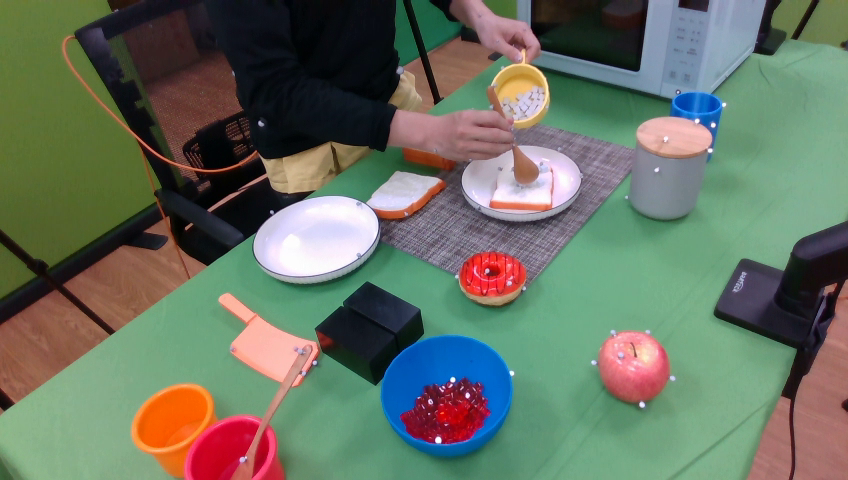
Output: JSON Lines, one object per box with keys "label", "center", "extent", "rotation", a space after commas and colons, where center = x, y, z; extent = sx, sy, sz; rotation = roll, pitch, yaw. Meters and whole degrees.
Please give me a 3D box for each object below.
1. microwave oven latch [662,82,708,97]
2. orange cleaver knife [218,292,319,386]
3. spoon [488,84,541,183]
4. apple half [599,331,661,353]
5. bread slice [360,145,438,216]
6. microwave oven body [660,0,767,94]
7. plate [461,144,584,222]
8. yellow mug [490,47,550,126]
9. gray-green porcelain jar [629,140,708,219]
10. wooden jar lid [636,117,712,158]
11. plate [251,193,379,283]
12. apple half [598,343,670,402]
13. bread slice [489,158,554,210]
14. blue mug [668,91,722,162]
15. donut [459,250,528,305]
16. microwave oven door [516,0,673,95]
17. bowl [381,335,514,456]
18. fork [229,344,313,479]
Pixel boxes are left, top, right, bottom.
{"label": "microwave oven latch", "center": [0.518, -0.298, 1.203], "extent": [0.078, 0.029, 0.030], "rotation": [28, 53, 35]}
{"label": "orange cleaver knife", "center": [-0.235, 0.136, 0.850], "extent": [0.209, 0.012, 0.077], "rotation": [25, 57, 30]}
{"label": "spoon", "center": [0.134, -0.157, 0.922], "extent": [0.041, 0.195, 0.021], "rotation": [-25, 36, 12]}
{"label": "apple half", "center": [0.249, 0.134, 0.738], "extent": [0.081, 0.081, 0.032], "rotation": [-1, 46, 7]}
{"label": "bread slice", "center": [-0.053, -0.103, 1.046], "extent": [0.106, 0.018, 0.134], "rotation": [19, 67, 23]}
{"label": "microwave oven body", "center": [0.473, -0.516, 1.313], "extent": [0.438, 0.261, 0.327], "rotation": [26, 51, 34]}
{"label": "plate", "center": [0.168, -0.095, 1.040], "extent": [0.207, 0.039, 0.206], "rotation": [-4, 41, 4]}
{"label": "yellow mug", "center": [0.169, -0.268, 1.051], "extent": [0.099, 0.130, 0.064], "rotation": [5, 3, 13]}
{"label": "gray-green porcelain jar", "center": [0.383, -0.104, 0.958], "extent": [0.106, 0.127, 0.105], "rotation": [-4, 41, 4]}
{"label": "wooden jar lid", "center": [0.377, -0.151, 0.917], "extent": [0.108, 0.021, 0.108], "rotation": [-2, 42, 2]}
{"label": "plate", "center": [-0.174, -0.001, 0.985], "extent": [0.209, 0.038, 0.208], "rotation": [-4, 41, 4]}
{"label": "apple half", "center": [0.247, 0.161, 0.710], "extent": [0.081, 0.075, 0.053], "rotation": [2, 47, 5]}
{"label": "bread slice", "center": [0.173, -0.100, 1.048], "extent": [0.104, 0.019, 0.131], "rotation": [4, 44, 12]}
{"label": "blue mug", "center": [0.474, -0.207, 1.078], "extent": [0.082, 0.106, 0.116], "rotation": [4, 42, 13]}
{"label": "donut", "center": [0.100, 0.053, 0.873], "extent": [0.099, 0.048, 0.098], "rotation": [-5, 40, 4]}
{"label": "microwave oven door", "center": [0.344, -0.458, 1.257], "extent": [0.353, 0.245, 0.039], "rotation": [26, 52, 33]}
{"label": "bowl", "center": [0.029, 0.192, 0.701], "extent": [0.151, 0.077, 0.150], "rotation": [-4, 40, 4]}
{"label": "fork", "center": [-0.173, 0.205, 0.662], "extent": [0.028, 0.019, 0.207], "rotation": [29, 94, 35]}
